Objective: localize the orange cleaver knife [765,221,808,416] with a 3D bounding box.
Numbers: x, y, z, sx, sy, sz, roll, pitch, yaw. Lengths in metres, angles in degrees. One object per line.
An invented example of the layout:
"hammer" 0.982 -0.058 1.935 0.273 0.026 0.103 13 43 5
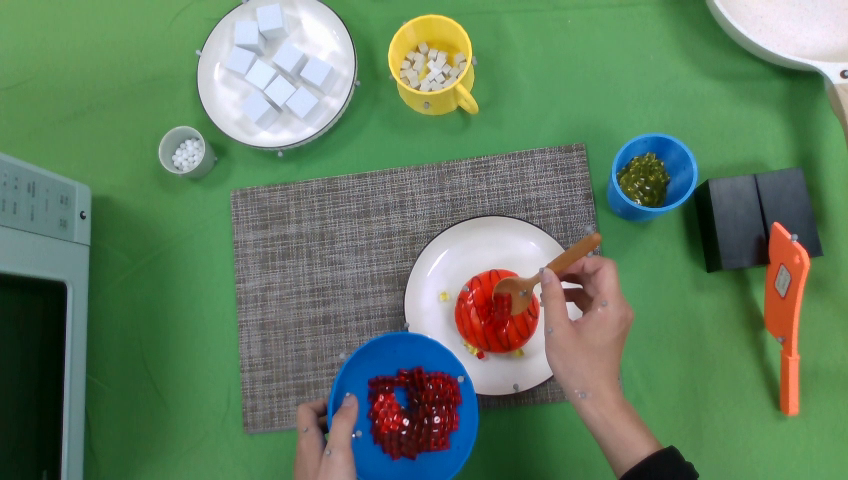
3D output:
"orange cleaver knife" 0.383 0.086 0.647 0.012 0.077 0.212 -8 109 6

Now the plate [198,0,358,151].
"plate" -0.184 -0.212 0.779 0.207 0.039 0.207 -1 82 7

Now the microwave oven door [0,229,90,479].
"microwave oven door" -0.445 0.166 0.632 0.039 0.245 0.354 -4 81 7

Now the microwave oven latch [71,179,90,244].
"microwave oven latch" -0.442 -0.035 0.764 0.030 0.029 0.079 -2 82 6

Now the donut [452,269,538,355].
"donut" 0.081 0.082 0.690 0.099 0.048 0.099 -1 85 7

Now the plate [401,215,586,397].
"plate" 0.079 0.075 0.702 0.209 0.038 0.208 -1 82 7

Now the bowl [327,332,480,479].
"bowl" -0.030 0.173 0.601 0.152 0.077 0.150 8 68 -21

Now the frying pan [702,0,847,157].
"frying pan" 0.457 -0.227 0.673 0.306 0.103 0.485 -2 73 7

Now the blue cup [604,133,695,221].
"blue cup" 0.242 -0.061 0.675 0.092 0.100 0.092 -1 80 6

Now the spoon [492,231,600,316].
"spoon" 0.113 0.035 0.580 0.021 0.194 0.041 -30 80 -24

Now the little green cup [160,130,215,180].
"little green cup" -0.300 -0.106 0.775 0.061 0.039 0.061 -1 82 5

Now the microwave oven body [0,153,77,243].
"microwave oven body" -0.592 0.135 0.658 0.326 0.261 0.440 -4 82 6

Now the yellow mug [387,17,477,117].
"yellow mug" 0.019 -0.199 0.740 0.100 0.064 0.130 -44 80 -1
